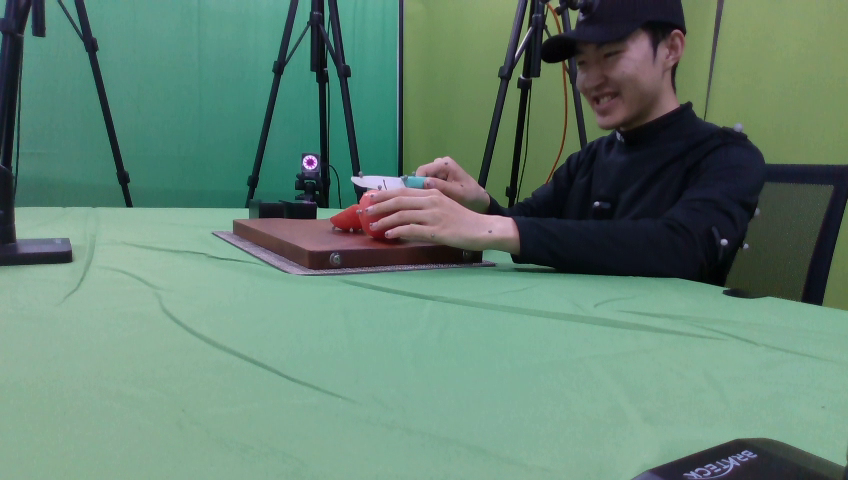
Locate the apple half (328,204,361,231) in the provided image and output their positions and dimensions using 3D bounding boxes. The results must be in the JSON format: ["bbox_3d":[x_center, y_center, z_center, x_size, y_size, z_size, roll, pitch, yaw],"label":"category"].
[{"bbox_3d":[-0.107,-0.034,0.954,0.081,0.033,0.081,-18,-5,-1],"label":"apple half"}]

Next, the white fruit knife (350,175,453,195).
[{"bbox_3d":[-0.029,-0.087,0.925,0.208,0.027,0.016,-1,-5,-45],"label":"white fruit knife"}]

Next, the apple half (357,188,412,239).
[{"bbox_3d":[-0.050,-0.037,0.873,0.081,0.074,0.053,2,10,-40],"label":"apple half"}]
